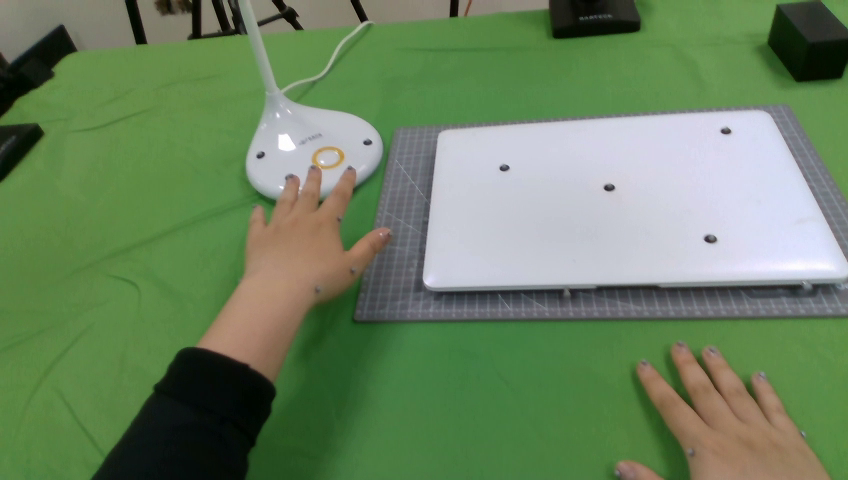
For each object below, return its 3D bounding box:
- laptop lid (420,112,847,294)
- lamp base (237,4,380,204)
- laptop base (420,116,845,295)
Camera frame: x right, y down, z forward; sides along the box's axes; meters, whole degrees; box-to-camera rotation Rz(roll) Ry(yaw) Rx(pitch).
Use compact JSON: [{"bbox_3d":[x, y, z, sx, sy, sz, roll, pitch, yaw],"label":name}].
[{"bbox_3d":[0.177,-0.044,0.586,0.356,0.013,0.239,-1,47,9],"label":"laptop lid"},{"bbox_3d":[-0.149,-0.156,0.660,0.177,0.182,0.160,29,56,37],"label":"lamp base"},{"bbox_3d":[0.179,-0.037,0.596,0.354,0.023,0.233,-2,48,8],"label":"laptop base"}]
